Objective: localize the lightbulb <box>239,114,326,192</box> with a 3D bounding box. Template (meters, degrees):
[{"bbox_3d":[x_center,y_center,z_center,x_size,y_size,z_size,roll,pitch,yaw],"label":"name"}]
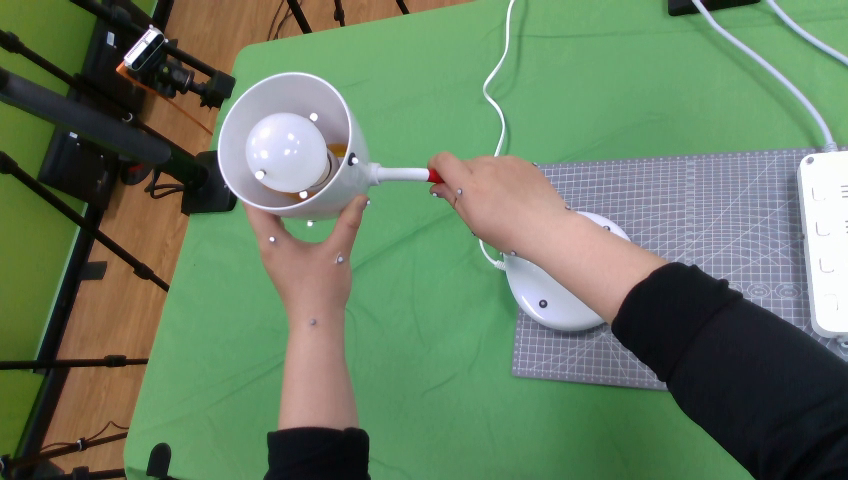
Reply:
[{"bbox_3d":[-0.106,-0.064,0.488,0.059,0.108,0.059,-1,83,11],"label":"lightbulb"}]

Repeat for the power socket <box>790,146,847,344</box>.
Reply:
[{"bbox_3d":[0.448,-0.002,0.658,0.072,0.033,0.225,-2,68,23],"label":"power socket"}]

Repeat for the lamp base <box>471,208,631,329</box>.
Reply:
[{"bbox_3d":[0.137,0.008,0.707,0.178,0.182,0.159,-7,66,25],"label":"lamp base"}]

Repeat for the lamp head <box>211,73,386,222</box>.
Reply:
[{"bbox_3d":[-0.095,-0.064,0.511,0.112,0.124,0.112,-4,77,18],"label":"lamp head"}]
